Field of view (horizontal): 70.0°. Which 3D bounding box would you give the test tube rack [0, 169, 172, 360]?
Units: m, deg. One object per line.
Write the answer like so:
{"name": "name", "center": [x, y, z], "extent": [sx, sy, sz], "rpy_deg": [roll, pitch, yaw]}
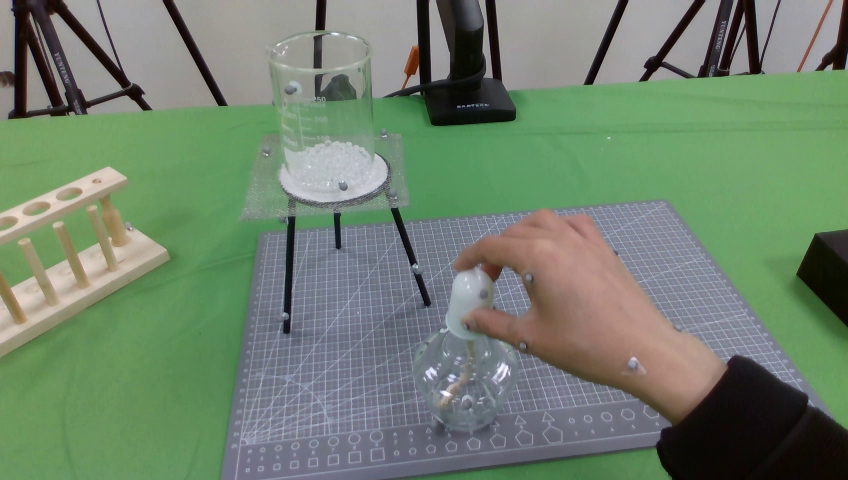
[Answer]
{"name": "test tube rack", "center": [-0.353, 0.034, 0.524], "extent": [0.066, 0.086, 0.242], "rpy_deg": [26, 45, 30]}

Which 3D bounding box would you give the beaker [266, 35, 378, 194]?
{"name": "beaker", "center": [-0.075, -0.092, 0.453], "extent": [0.083, 0.101, 0.074], "rpy_deg": [20, 42, 22]}

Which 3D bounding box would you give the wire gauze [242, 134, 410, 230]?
{"name": "wire gauze", "center": [-0.075, -0.052, 0.481], "extent": [0.121, 0.011, 0.124], "rpy_deg": [-3, 40, -4]}

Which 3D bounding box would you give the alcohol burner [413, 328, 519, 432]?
{"name": "alcohol burner", "center": [0.030, 0.082, 0.431], "extent": [0.078, 0.120, 0.077], "rpy_deg": [0, 40, 0]}

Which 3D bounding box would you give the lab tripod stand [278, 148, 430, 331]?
{"name": "lab tripod stand", "center": [-0.066, -0.002, 0.524], "extent": [0.148, 0.132, 0.147], "rpy_deg": [1, 37, 0]}

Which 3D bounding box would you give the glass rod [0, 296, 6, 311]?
{"name": "glass rod", "center": [-0.377, -0.024, 0.490], "extent": [0.008, 0.201, 0.008], "rpy_deg": [0, 31, 0]}

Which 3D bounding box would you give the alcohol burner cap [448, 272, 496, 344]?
{"name": "alcohol burner cap", "center": [0.033, 0.041, 0.398], "extent": [0.034, 0.048, 0.033], "rpy_deg": [1, 43, 0]}
